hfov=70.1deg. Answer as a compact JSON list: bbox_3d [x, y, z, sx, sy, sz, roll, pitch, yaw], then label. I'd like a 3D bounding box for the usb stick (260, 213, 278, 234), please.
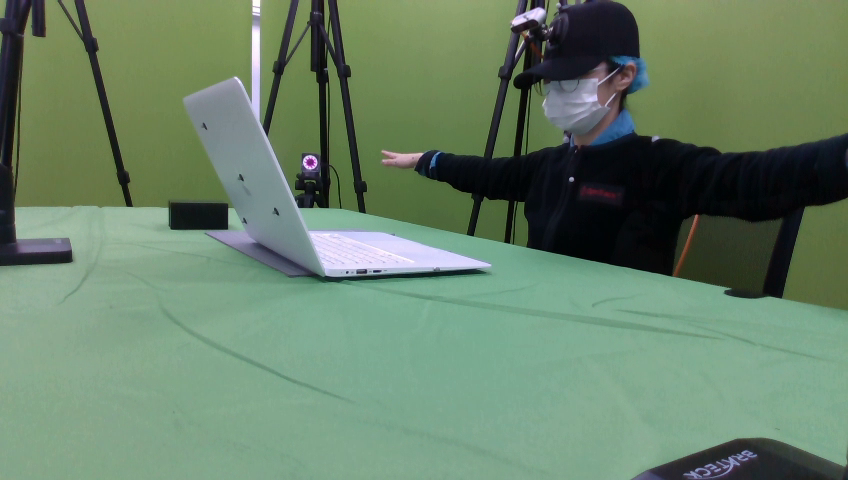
[{"bbox_3d":[-0.260,-0.025,1.016,0.021,0.027,0.059,1,19,-27],"label":"usb stick"}]

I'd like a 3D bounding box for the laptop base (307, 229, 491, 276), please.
[{"bbox_3d":[-0.094,0.015,0.888,0.237,0.023,0.352,2,7,-30],"label":"laptop base"}]

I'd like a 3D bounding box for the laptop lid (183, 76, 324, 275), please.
[{"bbox_3d":[-0.237,-0.085,0.791,0.013,0.242,0.355,-30,23,-23],"label":"laptop lid"}]
